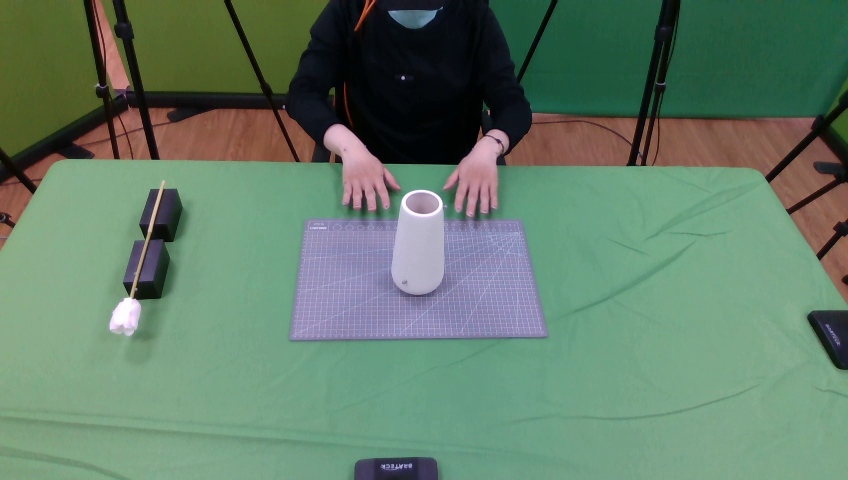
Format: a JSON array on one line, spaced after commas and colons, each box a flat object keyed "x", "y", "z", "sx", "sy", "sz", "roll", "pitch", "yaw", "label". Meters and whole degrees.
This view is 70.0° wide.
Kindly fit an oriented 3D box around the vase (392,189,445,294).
[{"x": -0.007, "y": 0.006, "z": 1.060, "sx": 0.098, "sy": 0.201, "sz": 0.097, "roll": 2, "pitch": 48, "yaw": -2, "label": "vase"}]

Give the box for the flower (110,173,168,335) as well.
[{"x": -0.497, "y": 0.008, "z": 1.087, "sx": 0.044, "sy": 0.038, "sz": 0.359, "roll": -12, "pitch": 51, "yaw": 9, "label": "flower"}]
